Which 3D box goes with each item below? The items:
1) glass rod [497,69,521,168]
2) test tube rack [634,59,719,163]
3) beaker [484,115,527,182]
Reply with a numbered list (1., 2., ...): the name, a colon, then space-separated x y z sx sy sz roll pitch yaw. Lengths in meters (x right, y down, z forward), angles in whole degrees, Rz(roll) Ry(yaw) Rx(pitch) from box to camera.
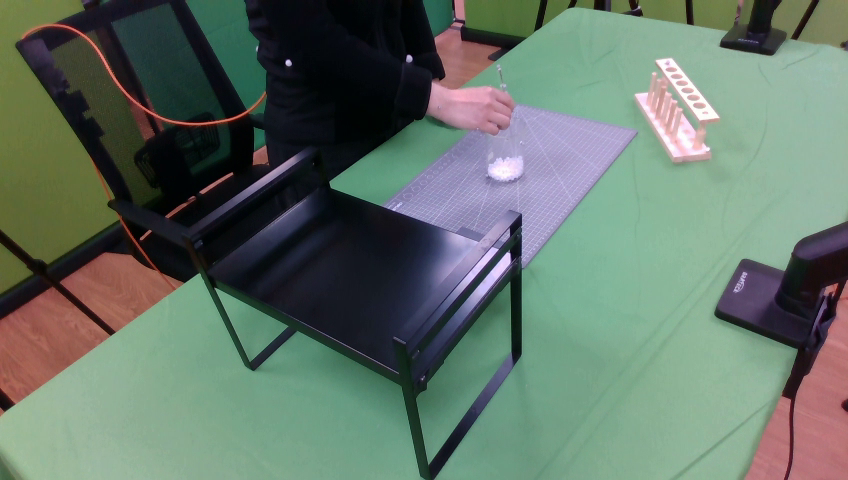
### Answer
1. glass rod: 0.149 -0.207 1.051 0.008 0.201 0.008 -12 40 10
2. test tube rack: 0.470 -0.250 1.148 0.067 0.085 0.241 -6 40 3
3. beaker: 0.147 -0.162 1.080 0.073 0.101 0.084 13 44 23
